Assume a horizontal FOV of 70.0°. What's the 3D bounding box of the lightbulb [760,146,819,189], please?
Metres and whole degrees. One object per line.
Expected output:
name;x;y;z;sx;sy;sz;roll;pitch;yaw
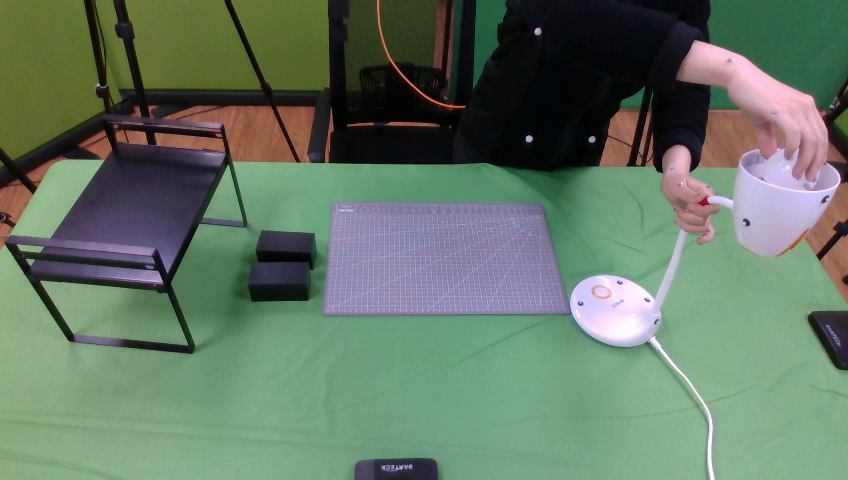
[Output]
lightbulb;0.435;-0.063;0.741;0.059;0.108;0.059;11;28;-6

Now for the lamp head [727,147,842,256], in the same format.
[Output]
lamp head;0.436;-0.044;0.759;0.112;0.123;0.111;1;40;-1

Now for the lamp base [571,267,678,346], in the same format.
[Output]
lamp base;0.359;0.077;1.038;0.160;0.181;0.178;-34;59;-31
